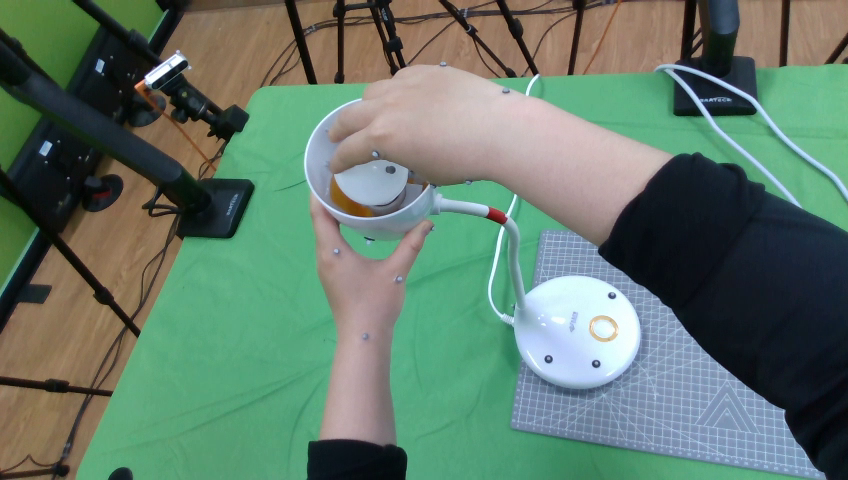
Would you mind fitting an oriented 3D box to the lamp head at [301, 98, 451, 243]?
[{"bbox_3d":[-0.034,-0.046,0.533,0.112,0.124,0.111,-4,68,10],"label":"lamp head"}]

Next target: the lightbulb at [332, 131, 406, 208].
[{"bbox_3d":[-0.041,-0.052,0.509,0.059,0.108,0.059,-1,77,7],"label":"lightbulb"}]

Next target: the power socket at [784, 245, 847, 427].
[{"bbox_3d":[0.478,0.104,0.718,0.072,0.033,0.225,3,59,18],"label":"power socket"}]

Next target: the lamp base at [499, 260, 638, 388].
[{"bbox_3d":[0.165,0.078,0.739,0.178,0.182,0.159,-3,58,19],"label":"lamp base"}]
